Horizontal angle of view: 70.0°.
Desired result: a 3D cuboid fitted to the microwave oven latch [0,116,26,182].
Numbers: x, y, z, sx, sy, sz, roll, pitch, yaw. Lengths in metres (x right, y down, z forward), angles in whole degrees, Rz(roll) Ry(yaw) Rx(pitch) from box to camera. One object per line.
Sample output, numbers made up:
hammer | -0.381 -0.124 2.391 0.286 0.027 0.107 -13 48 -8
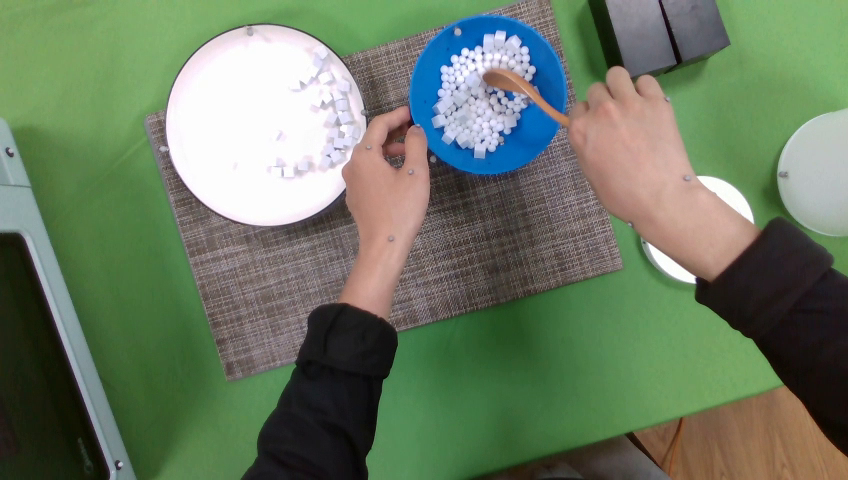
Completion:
microwave oven latch | -0.445 -0.095 0.626 0.030 0.029 0.079 -18 93 1

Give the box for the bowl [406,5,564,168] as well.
bowl | 0.059 -0.145 0.608 0.151 0.077 0.151 0 94 2

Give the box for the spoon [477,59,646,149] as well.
spoon | 0.120 -0.124 0.553 0.191 0.042 0.021 43 98 34

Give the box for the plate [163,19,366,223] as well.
plate | -0.162 -0.121 0.633 0.209 0.038 0.209 0 93 1

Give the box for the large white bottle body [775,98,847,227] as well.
large white bottle body | 0.433 -0.076 0.556 0.130 0.184 0.130 0 92 1

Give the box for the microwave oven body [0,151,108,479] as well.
microwave oven body | -0.531 0.123 0.543 0.326 0.260 0.442 -19 93 1

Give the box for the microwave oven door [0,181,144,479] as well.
microwave oven door | -0.379 0.117 0.536 0.039 0.243 0.356 -19 92 2

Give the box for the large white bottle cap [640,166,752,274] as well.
large white bottle cap | 0.289 -0.021 0.645 0.115 0.018 0.115 0 93 0
